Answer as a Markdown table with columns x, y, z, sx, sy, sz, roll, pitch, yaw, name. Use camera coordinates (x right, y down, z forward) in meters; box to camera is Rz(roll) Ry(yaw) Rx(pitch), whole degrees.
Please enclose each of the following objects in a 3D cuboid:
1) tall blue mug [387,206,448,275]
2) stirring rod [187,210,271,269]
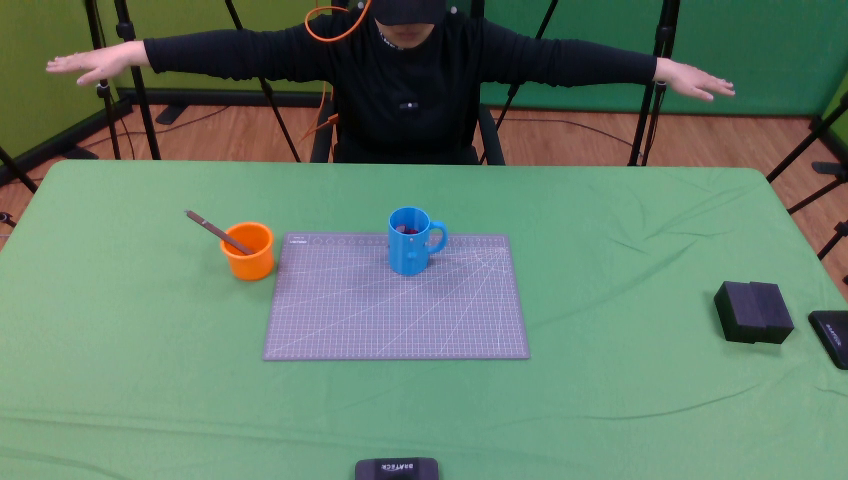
| x | y | z | sx | sy | sz | roll | pitch | yaw | name |
| --- | --- | --- | --- | --- | --- | --- | --- | --- | --- |
| -0.018 | -0.004 | 1.138 | 0.107 | 0.108 | 0.077 | -30 | 54 | -29 | tall blue mug |
| -0.349 | 0.000 | 1.092 | 0.177 | 0.006 | 0.014 | 39 | 35 | -27 | stirring rod |
